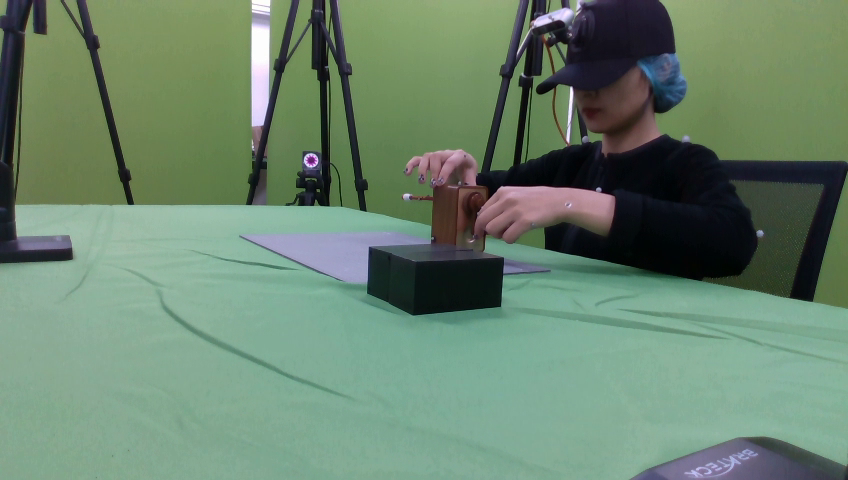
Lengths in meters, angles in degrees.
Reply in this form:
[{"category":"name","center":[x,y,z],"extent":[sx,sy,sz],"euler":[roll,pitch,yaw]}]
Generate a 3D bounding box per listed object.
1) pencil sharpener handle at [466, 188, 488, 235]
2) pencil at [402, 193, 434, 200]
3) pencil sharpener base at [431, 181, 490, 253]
[{"category":"pencil sharpener handle","center":[0.085,-0.042,0.899],"extent":[0.036,0.067,0.030],"euler":[-2,9,-32]},{"category":"pencil","center":[0.014,-0.071,1.013],"extent":[0.012,0.012,0.193],"euler":[-2,7,-31]},{"category":"pencil sharpener base","center":[0.057,-0.036,0.943],"extent":[0.062,0.107,0.076],"euler":[-2,9,-32]}]
